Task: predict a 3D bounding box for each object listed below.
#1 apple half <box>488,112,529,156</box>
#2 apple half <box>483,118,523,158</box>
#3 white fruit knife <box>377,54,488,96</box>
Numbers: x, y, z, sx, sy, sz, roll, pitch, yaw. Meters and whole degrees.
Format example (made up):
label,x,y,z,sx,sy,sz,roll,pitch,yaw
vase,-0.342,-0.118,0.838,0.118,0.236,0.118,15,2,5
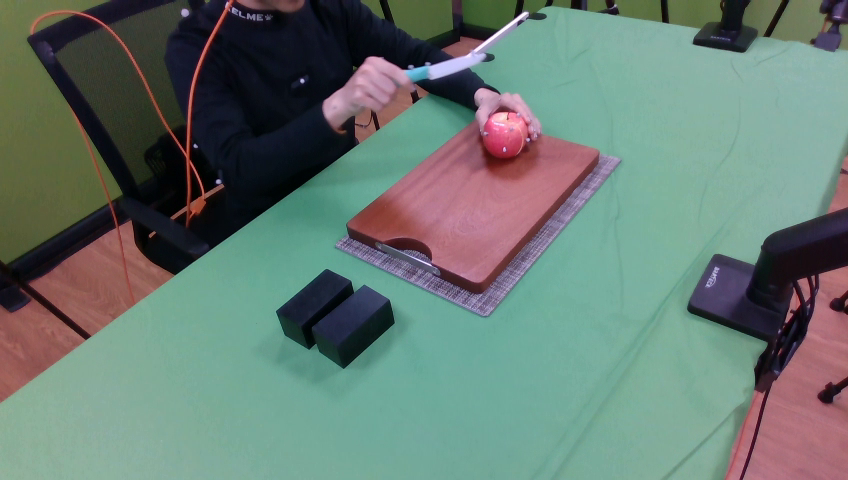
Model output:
label,x,y,z,sx,sy,sz,roll,pitch,yaw
apple half,0.154,-0.195,1.091,0.080,0.075,0.053,13,42,27
apple half,0.134,-0.172,1.066,0.081,0.081,0.033,17,46,26
white fruit knife,0.008,-0.262,0.949,0.206,0.027,0.016,-8,46,30
